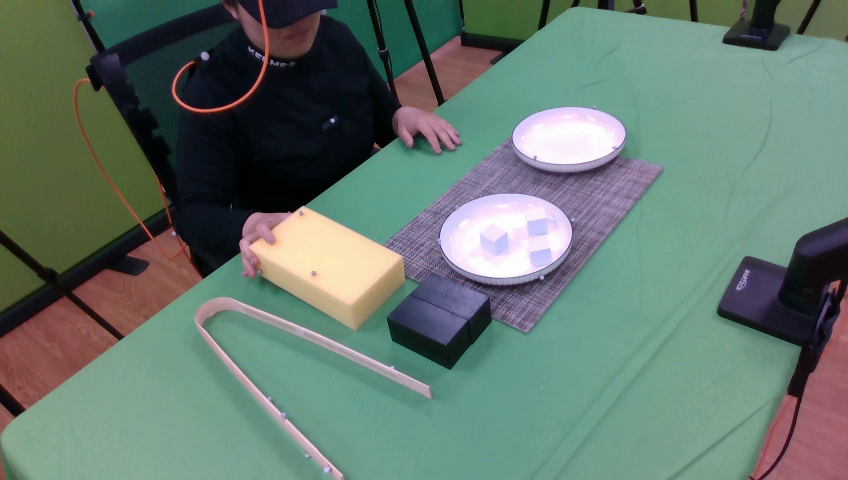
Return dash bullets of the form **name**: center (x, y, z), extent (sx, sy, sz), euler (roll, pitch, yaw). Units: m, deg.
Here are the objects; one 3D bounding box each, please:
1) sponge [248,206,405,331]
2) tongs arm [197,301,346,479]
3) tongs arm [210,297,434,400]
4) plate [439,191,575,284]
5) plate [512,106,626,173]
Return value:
- **sponge**: center (-0.147, 0.037, 0.917), extent (0.205, 0.061, 0.118), euler (25, 51, 25)
- **tongs arm**: center (-0.206, 0.185, 0.791), extent (0.381, 0.026, 0.051), euler (28, 51, 37)
- **tongs arm**: center (-0.153, 0.143, 0.837), extent (0.385, 0.028, 0.028), euler (17, 49, 28)
- **plate**: center (0.129, -0.001, 0.942), extent (0.207, 0.039, 0.206), euler (-5, 40, 5)
- **plate**: center (0.269, -0.185, 1.132), extent (0.209, 0.038, 0.208), euler (-5, 40, 5)
